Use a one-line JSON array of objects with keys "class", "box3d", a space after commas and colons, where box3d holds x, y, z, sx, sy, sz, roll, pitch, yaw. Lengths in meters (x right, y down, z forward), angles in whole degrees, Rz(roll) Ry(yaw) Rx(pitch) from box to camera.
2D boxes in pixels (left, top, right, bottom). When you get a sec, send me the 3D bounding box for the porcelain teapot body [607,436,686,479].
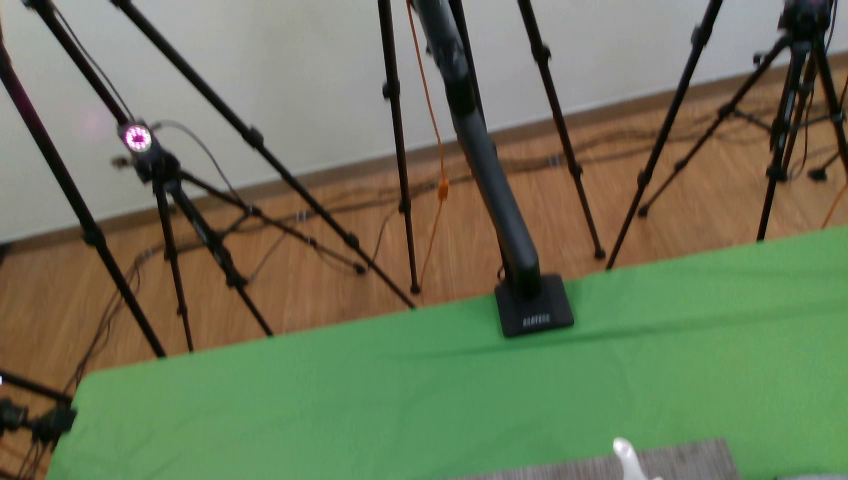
[{"class": "porcelain teapot body", "box3d": [0.267, 0.322, 0.676, 0.145, 0.228, 0.203, -28, 47, -9]}]
